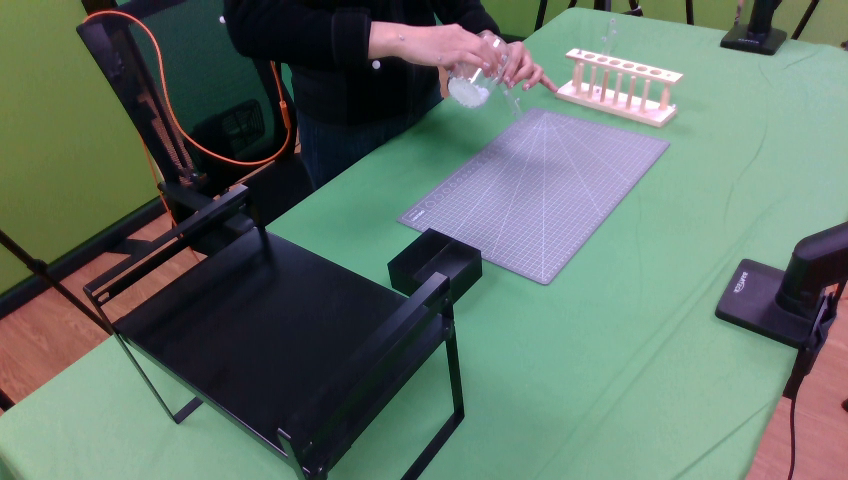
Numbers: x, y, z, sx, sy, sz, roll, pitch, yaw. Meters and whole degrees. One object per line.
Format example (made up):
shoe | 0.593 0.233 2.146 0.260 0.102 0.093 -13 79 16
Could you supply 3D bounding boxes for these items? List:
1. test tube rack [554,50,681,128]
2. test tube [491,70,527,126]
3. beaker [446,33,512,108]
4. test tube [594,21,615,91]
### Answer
test tube rack | 0.388 -0.311 1.234 0.240 0.085 0.067 28 51 34
test tube | 0.153 -0.250 1.073 0.017 0.152 0.017 -13 59 23
beaker | 0.086 -0.266 0.966 0.073 0.084 0.100 18 62 29
test tube | 0.367 -0.372 1.232 0.017 0.151 0.017 0 43 0
